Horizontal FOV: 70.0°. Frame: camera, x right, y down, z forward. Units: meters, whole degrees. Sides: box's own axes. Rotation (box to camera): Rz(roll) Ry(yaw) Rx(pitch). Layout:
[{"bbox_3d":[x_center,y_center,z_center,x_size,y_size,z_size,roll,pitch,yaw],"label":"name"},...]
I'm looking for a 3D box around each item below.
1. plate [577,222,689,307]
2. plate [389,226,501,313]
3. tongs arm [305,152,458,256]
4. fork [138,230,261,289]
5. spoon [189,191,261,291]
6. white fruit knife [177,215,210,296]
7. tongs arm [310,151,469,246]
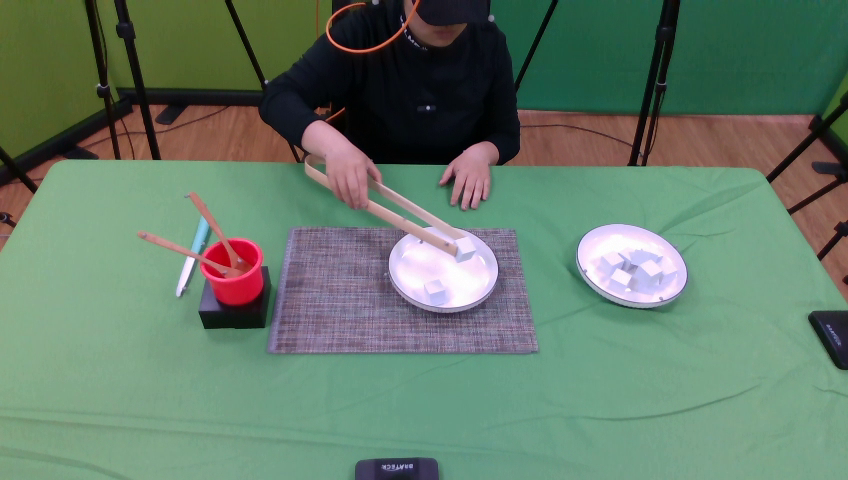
[{"bbox_3d":[0.396,0.050,1.165,0.209,0.038,0.208,2,47,-2],"label":"plate"},{"bbox_3d":[0.038,0.057,1.129,0.208,0.039,0.206,2,46,-2],"label":"plate"},{"bbox_3d":[-0.088,-0.074,1.147,0.383,0.026,0.050,27,46,21],"label":"tongs arm"},{"bbox_3d":[-0.360,0.032,0.981,0.208,0.018,0.028,31,60,-30],"label":"fork"},{"bbox_3d":[-0.333,0.001,1.012,0.041,0.194,0.021,-34,15,-25],"label":"spoon"},{"bbox_3d":[-0.435,0.025,1.148,0.027,0.016,0.206,-17,45,18],"label":"white fruit knife"},{"bbox_3d":[-0.073,-0.086,1.163,0.386,0.028,0.028,30,51,24],"label":"tongs arm"}]
